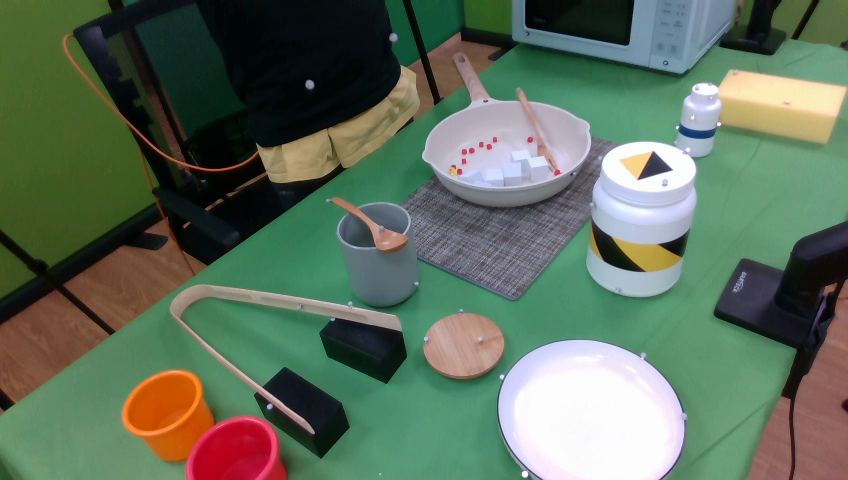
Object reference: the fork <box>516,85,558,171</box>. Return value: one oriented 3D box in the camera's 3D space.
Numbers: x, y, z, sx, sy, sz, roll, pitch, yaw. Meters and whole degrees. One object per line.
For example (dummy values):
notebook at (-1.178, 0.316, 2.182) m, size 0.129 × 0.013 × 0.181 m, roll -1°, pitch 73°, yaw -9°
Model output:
fork at (0.208, -0.213, 1.134) m, size 0.028 × 0.019 × 0.206 m, roll -15°, pitch 66°, yaw 0°

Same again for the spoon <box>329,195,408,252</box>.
spoon at (-0.082, -0.029, 0.828) m, size 0.042 × 0.022 × 0.192 m, roll -32°, pitch 43°, yaw -20°

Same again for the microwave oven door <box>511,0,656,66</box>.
microwave oven door at (0.351, -0.539, 1.349) m, size 0.353 × 0.245 × 0.039 m, roll 24°, pitch 50°, yaw 31°

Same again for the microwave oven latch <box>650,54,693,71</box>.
microwave oven latch at (0.531, -0.386, 1.301) m, size 0.078 × 0.029 × 0.030 m, roll 26°, pitch 51°, yaw 33°

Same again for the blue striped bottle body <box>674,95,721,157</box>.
blue striped bottle body at (0.486, -0.213, 1.071) m, size 0.063 × 0.121 × 0.063 m, roll -4°, pitch 41°, yaw 4°

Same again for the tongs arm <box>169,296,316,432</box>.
tongs arm at (-0.248, 0.148, 0.775) m, size 0.384 × 0.028 × 0.028 m, roll 21°, pitch 56°, yaw 44°

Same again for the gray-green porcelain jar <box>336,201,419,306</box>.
gray-green porcelain jar at (-0.064, 0.024, 0.872) m, size 0.106 × 0.127 × 0.105 m, roll -4°, pitch 41°, yaw 4°

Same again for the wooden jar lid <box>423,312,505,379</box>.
wooden jar lid at (0.053, 0.142, 0.800) m, size 0.108 × 0.021 × 0.108 m, roll -5°, pitch 39°, yaw 4°

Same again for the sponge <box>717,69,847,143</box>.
sponge at (0.663, -0.256, 1.142) m, size 0.205 × 0.061 × 0.118 m, roll 19°, pitch 47°, yaw 28°

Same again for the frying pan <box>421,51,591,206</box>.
frying pan at (0.127, -0.233, 1.155) m, size 0.307 × 0.103 × 0.484 m, roll -11°, pitch 49°, yaw -5°

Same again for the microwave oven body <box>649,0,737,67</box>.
microwave oven body at (0.475, -0.602, 1.411) m, size 0.438 × 0.261 × 0.327 m, roll 23°, pitch 50°, yaw 32°

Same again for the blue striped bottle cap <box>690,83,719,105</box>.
blue striped bottle cap at (0.482, -0.251, 1.038) m, size 0.044 × 0.021 × 0.044 m, roll -5°, pitch 39°, yaw 5°

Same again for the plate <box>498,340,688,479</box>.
plate at (0.189, 0.206, 0.692) m, size 0.207 × 0.039 × 0.206 m, roll -4°, pitch 40°, yaw 4°

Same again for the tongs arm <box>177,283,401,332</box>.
tongs arm at (-0.199, 0.096, 0.823) m, size 0.382 × 0.027 × 0.051 m, roll 7°, pitch 44°, yaw 34°

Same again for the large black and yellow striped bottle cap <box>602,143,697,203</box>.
large black and yellow striped bottle cap at (0.289, -0.088, 0.779) m, size 0.115 × 0.019 × 0.114 m, roll -5°, pitch 40°, yaw 4°

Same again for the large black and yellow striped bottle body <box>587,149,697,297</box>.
large black and yellow striped bottle body at (0.298, -0.026, 0.835) m, size 0.131 × 0.185 × 0.130 m, roll -4°, pitch 41°, yaw 4°
